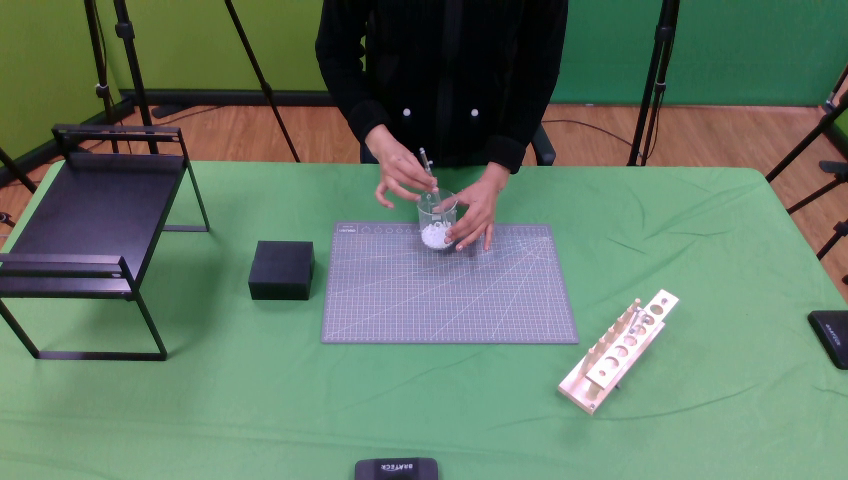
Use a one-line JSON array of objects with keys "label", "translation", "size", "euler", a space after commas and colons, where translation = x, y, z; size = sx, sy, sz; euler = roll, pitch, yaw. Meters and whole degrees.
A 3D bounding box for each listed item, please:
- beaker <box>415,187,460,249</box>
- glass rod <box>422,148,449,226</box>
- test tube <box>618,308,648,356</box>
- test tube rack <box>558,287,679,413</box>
[{"label": "beaker", "translation": [0.029, -0.039, 1.144], "size": [0.084, 0.101, 0.073], "euler": [-15, 47, -10]}, {"label": "glass rod", "translation": [0.023, -0.092, 1.106], "size": [0.008, 0.201, 0.008], "euler": [-9, 49, 11]}, {"label": "test tube", "translation": [0.326, 0.155, 0.955], "size": [0.017, 0.151, 0.017], "euler": [-1, 50, 1]}, {"label": "test tube rack", "translation": [0.326, 0.170, 1.009], "size": [0.066, 0.085, 0.242], "euler": [36, 54, 26]}]
